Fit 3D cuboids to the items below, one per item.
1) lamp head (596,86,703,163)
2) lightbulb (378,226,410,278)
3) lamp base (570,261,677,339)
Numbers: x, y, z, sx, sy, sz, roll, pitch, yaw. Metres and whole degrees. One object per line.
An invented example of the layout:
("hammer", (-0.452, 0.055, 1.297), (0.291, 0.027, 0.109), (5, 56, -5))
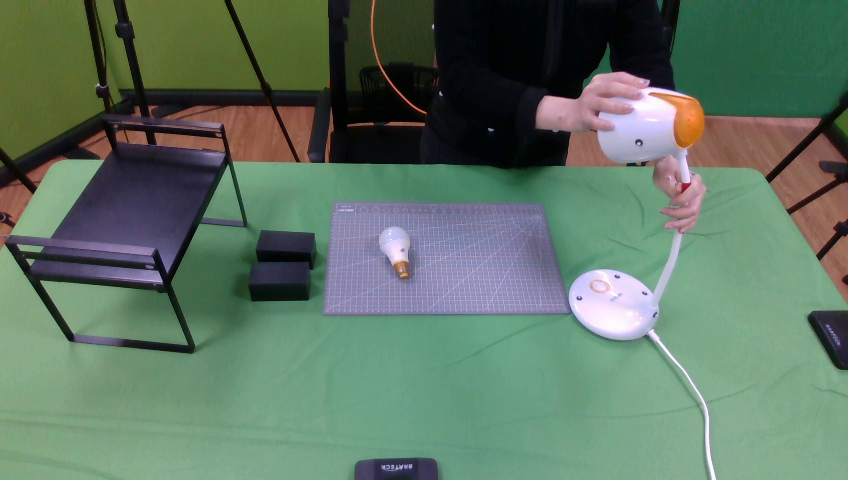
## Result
("lamp head", (0.324, -0.159, 0.852), (0.112, 0.113, 0.122), (-28, 26, -27))
("lightbulb", (-0.051, 0.024, 1.148), (0.059, 0.060, 0.107), (-11, 63, -14))
("lamp base", (0.360, 0.068, 1.047), (0.178, 0.181, 0.160), (38, 55, 25))
